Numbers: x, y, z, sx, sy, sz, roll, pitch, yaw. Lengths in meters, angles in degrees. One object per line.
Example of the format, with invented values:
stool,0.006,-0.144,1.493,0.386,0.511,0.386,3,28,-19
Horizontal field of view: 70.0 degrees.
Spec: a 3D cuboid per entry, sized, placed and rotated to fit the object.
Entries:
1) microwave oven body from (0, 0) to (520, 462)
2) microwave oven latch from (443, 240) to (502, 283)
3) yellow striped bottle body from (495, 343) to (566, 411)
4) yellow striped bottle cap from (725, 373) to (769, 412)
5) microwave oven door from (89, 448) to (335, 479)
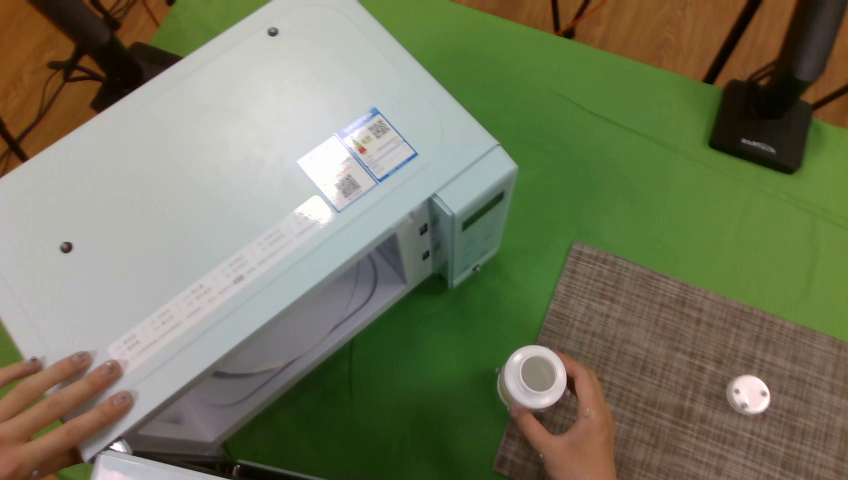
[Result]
microwave oven body,-0.174,-0.015,0.663,0.441,0.262,0.324,-38,74,-11
microwave oven latch,0.060,0.018,0.748,0.079,0.030,0.030,-36,74,-10
yellow striped bottle body,0.112,0.145,0.638,0.063,0.121,0.062,0,71,0
yellow striped bottle cap,0.378,0.178,0.710,0.044,0.019,0.044,-1,70,3
microwave oven door,-0.081,0.248,0.561,0.355,0.245,0.039,11,70,5
